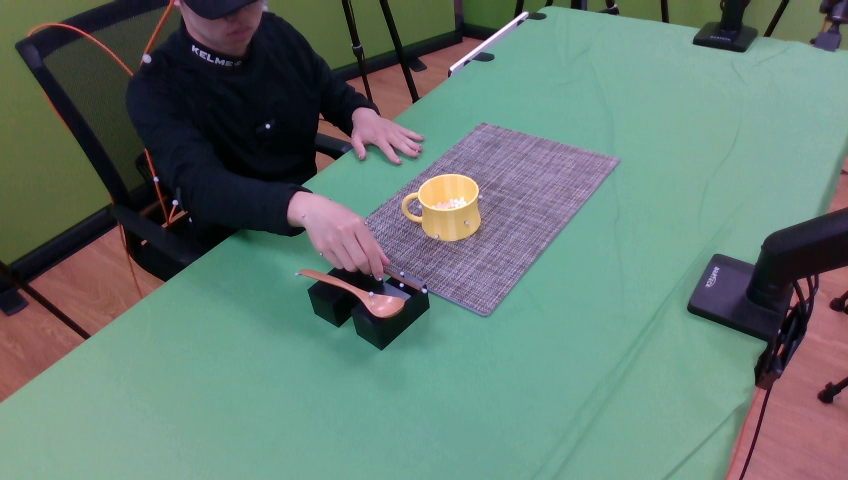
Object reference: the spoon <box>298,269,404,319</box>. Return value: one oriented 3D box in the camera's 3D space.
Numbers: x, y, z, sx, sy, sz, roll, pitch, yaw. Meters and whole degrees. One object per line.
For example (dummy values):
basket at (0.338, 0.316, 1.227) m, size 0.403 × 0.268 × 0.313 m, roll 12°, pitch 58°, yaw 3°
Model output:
spoon at (-0.106, 0.068, 0.831) m, size 0.192 × 0.022 × 0.042 m, roll 21°, pitch 49°, yaw 31°

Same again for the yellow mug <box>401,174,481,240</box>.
yellow mug at (0.026, -0.054, 0.989) m, size 0.130 × 0.064 × 0.099 m, roll -1°, pitch 41°, yaw 8°

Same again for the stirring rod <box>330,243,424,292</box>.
stirring rod at (-0.070, 0.037, 0.863) m, size 0.175 × 0.006 × 0.014 m, roll 25°, pitch 11°, yaw 31°
